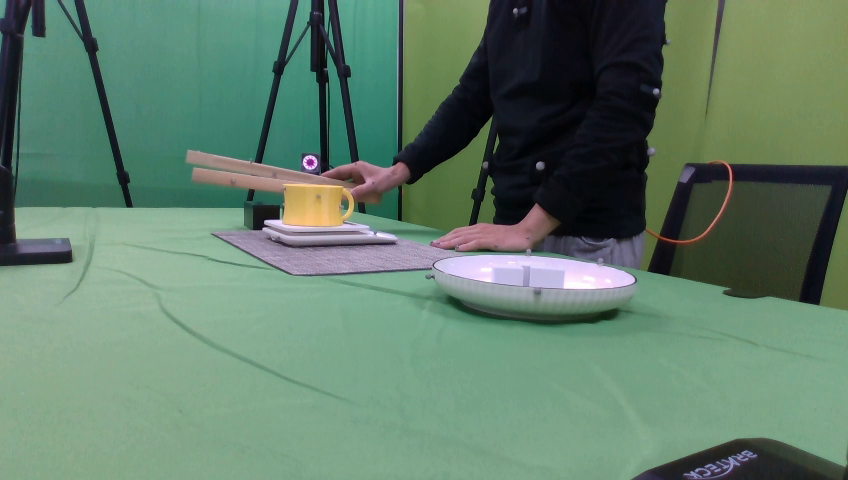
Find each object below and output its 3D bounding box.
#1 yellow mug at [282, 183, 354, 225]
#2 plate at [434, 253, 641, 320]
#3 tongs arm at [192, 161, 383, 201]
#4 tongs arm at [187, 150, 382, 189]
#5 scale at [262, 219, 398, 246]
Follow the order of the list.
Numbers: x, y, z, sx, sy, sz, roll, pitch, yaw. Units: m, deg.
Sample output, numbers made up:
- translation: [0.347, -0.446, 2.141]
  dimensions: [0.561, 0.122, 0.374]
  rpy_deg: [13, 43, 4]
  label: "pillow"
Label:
- translation: [-0.172, -0.061, 1.009]
  dimensions: [0.131, 0.064, 0.099]
  rpy_deg: [-2, 7, -41]
  label: "yellow mug"
- translation: [0.114, 0.047, 0.626]
  dimensions: [0.208, 0.039, 0.207]
  rpy_deg: [2, 7, 0]
  label: "plate"
- translation: [-0.241, -0.109, 1.158]
  dimensions: [0.390, 0.028, 0.028]
  rpy_deg: [6, 9, -35]
  label: "tongs arm"
- translation: [-0.271, -0.128, 1.217]
  dimensions: [0.387, 0.026, 0.050]
  rpy_deg: [9, 11, -26]
  label: "tongs arm"
- translation: [-0.160, -0.015, 1.028]
  dimensions: [0.202, 0.031, 0.148]
  rpy_deg: [-2, 8, -32]
  label: "scale"
